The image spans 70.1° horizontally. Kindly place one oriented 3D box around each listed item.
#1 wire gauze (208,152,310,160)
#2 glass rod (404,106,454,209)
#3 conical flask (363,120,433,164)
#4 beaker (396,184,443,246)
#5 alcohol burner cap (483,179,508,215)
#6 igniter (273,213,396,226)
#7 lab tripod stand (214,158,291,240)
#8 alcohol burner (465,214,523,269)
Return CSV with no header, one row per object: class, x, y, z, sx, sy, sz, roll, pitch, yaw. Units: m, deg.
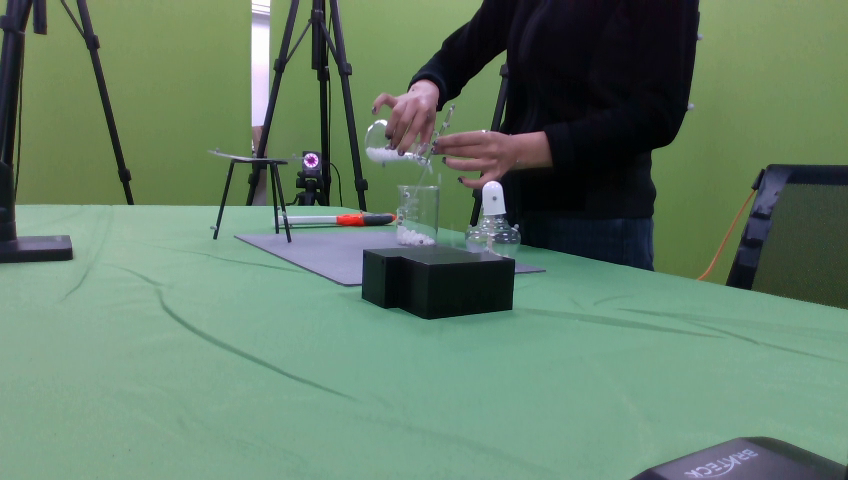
wire gauze,-0.270,-0.135,0.993,0.124,0.011,0.122,8,8,41
glass rod,0.006,-0.129,0.976,0.008,0.199,0.008,19,33,-12
conical flask,-0.040,-0.159,1.024,0.121,0.075,0.076,21,18,41
beaker,-0.011,-0.043,1.005,0.083,0.100,0.074,8,9,39
alcohol burner cap,0.094,-0.057,0.810,0.034,0.048,0.034,-7,6,1
igniter,-0.178,-0.044,1.258,0.278,0.025,0.057,-3,-1,-39
lab tripod stand,-0.268,-0.068,1.002,0.148,0.131,0.148,3,6,0
alcohol burner,0.094,-0.022,0.815,0.078,0.119,0.078,0,7,0
